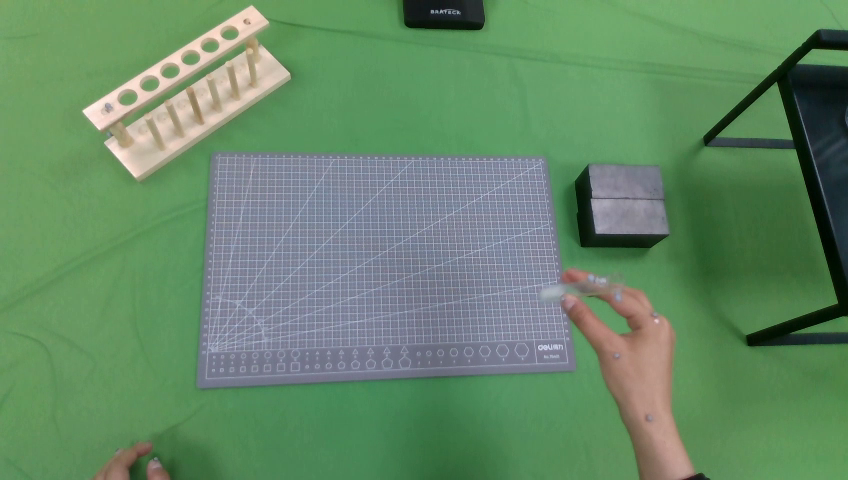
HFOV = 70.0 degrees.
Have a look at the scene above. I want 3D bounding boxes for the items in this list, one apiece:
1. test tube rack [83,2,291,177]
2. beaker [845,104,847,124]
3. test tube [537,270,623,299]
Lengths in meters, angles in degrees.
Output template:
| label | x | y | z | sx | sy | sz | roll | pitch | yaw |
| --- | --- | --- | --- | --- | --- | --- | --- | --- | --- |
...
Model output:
| label | x | y | z | sx | sy | sz | roll | pitch | yaw |
| --- | --- | --- | --- | --- | --- | --- | --- | --- | --- |
| test tube rack | -0.286 | -0.190 | 0.761 | 0.242 | 0.085 | 0.066 | -41 | 80 | -19 |
| beaker | 0.534 | -0.157 | 0.676 | 0.084 | 0.100 | 0.073 | -5 | 71 | -9 |
| test tube | 0.134 | 0.041 | 0.541 | 0.017 | 0.150 | 0.017 | 2 | 81 | -11 |
